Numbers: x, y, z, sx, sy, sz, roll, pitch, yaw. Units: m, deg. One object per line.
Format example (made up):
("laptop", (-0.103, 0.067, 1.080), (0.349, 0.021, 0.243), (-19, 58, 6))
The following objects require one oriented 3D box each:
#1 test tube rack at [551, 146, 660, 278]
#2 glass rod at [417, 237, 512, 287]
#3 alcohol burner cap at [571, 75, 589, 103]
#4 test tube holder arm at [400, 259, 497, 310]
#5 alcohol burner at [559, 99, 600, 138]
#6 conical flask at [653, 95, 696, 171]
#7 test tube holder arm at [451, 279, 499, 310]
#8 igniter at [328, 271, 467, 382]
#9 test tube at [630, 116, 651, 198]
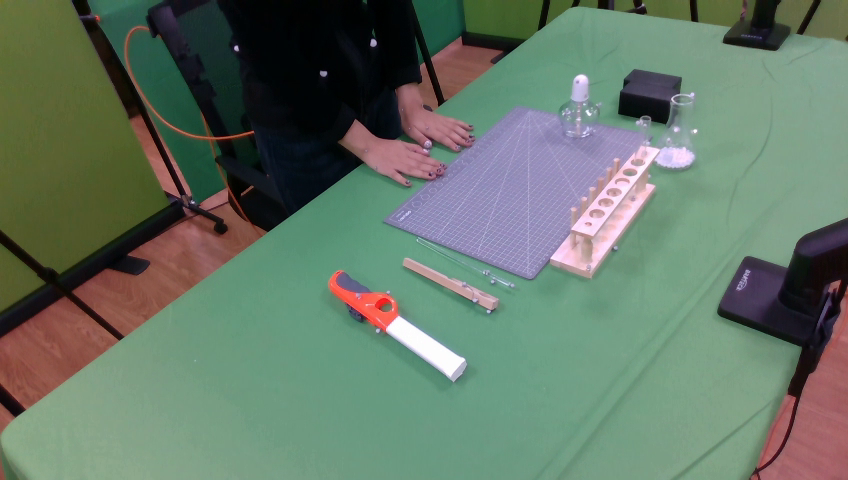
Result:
("test tube rack", (0.286, -0.053, 0.944), (0.066, 0.085, 0.243), (21, 49, 32))
("glass rod", (0.059, 0.032, 0.945), (0.198, 0.008, 0.008), (26, 52, 38))
("alcohol burner cap", (0.294, -0.284, 1.132), (0.034, 0.048, 0.033), (-5, 46, 5))
("test tube holder arm", (0.033, 0.064, 0.902), (0.177, 0.015, 0.013), (23, 13, 32))
("alcohol burner", (0.298, -0.258, 1.156), (0.078, 0.119, 0.077), (-4, 39, 4))
("conical flask", (0.437, -0.187, 1.043), (0.075, 0.122, 0.075), (-6, 40, 5))
("test tube holder arm", (0.071, 0.079, 0.883), (0.087, 0.015, 0.010), (23, 14, 34))
("igniter", (-0.049, 0.114, 0.854), (0.274, 0.025, 0.057), (29, 63, 37))
("test tube", (0.336, -0.125, 0.941), (0.017, 0.151, 0.017), (-5, 43, 5))
